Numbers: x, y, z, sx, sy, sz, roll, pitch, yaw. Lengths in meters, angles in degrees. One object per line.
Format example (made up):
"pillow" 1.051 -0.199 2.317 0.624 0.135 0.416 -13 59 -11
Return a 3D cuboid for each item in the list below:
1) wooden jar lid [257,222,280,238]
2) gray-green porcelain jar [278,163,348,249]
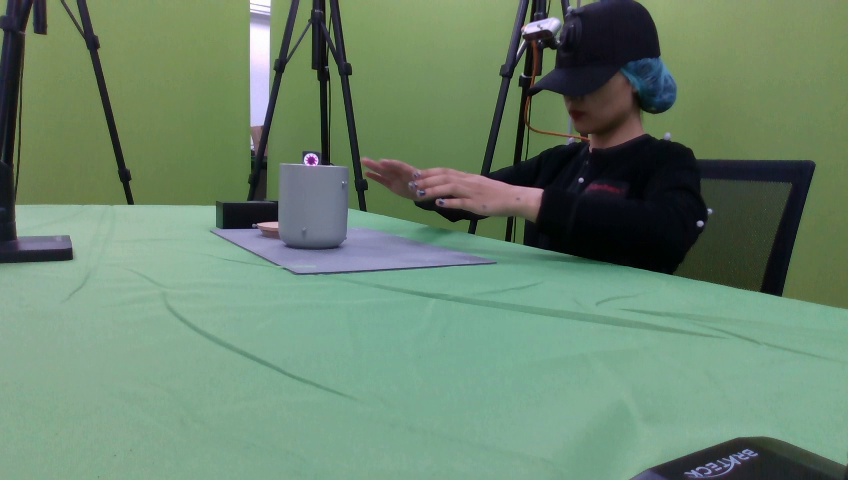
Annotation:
"wooden jar lid" -0.234 -0.018 1.053 0.108 0.020 0.108 2 9 0
"gray-green porcelain jar" -0.171 -0.053 0.934 0.106 0.126 0.106 2 7 0
